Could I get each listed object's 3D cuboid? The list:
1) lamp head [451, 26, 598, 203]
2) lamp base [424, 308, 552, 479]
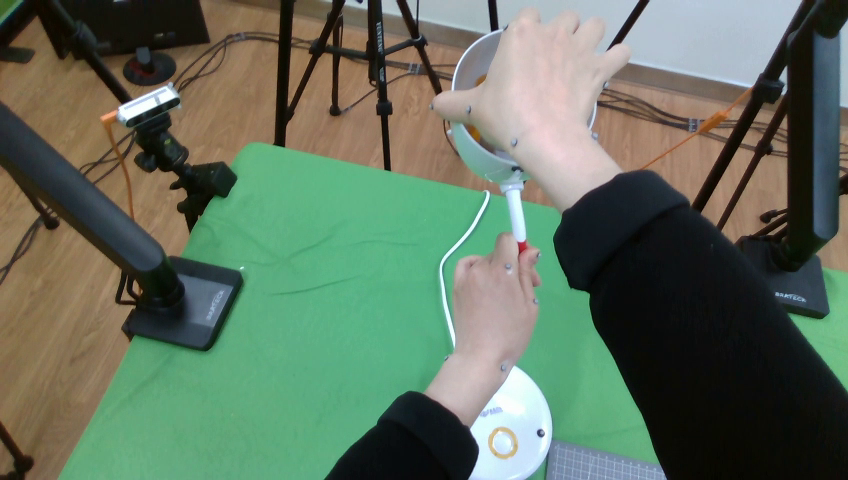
[{"bbox_3d":[0.073,-0.093,0.504,0.112,0.123,0.111,1,72,-4],"label":"lamp head"},{"bbox_3d":[0.079,0.168,0.695,0.161,0.182,0.177,-23,59,-19],"label":"lamp base"}]
